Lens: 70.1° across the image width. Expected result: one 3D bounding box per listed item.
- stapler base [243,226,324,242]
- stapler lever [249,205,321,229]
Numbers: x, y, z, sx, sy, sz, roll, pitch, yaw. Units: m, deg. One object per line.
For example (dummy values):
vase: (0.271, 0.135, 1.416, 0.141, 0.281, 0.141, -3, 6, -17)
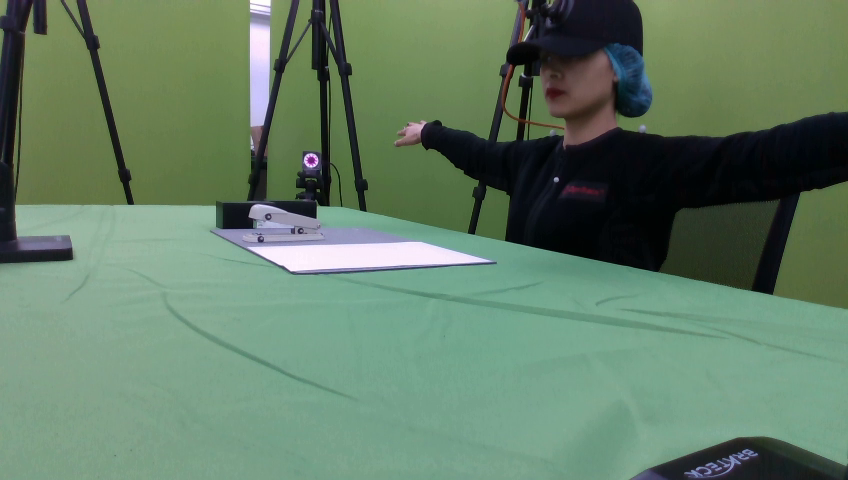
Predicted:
stapler base: (-0.230, -0.012, 0.996, 0.131, 0.024, 0.041, -1, 10, -36)
stapler lever: (-0.228, -0.037, 0.994, 0.119, 0.040, 0.026, -1, 10, -36)
